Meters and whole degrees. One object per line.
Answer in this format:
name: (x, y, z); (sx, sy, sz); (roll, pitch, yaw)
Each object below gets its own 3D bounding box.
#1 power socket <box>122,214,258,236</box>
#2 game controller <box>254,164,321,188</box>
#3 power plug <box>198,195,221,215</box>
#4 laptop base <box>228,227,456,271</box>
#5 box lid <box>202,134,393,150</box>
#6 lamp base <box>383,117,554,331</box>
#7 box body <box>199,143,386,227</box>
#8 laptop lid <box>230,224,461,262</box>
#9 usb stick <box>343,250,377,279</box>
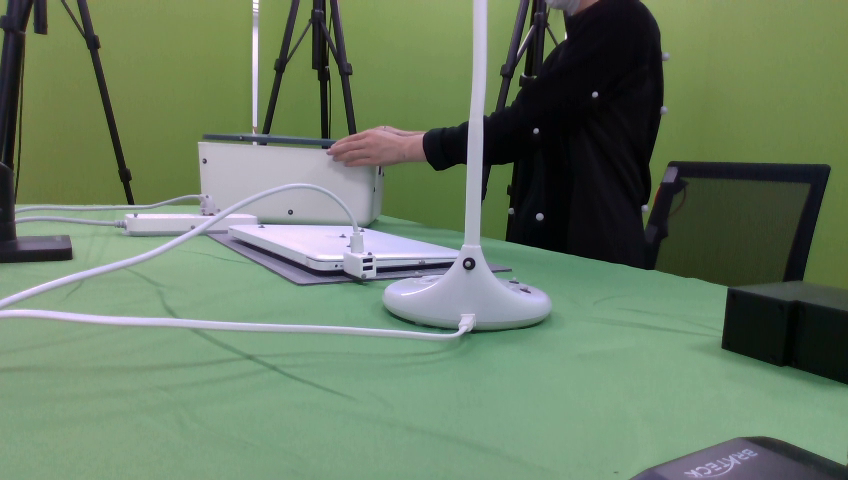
power socket: (-0.398, -0.028, 1.049); (0.228, 0.032, 0.072); (-3, 8, -34)
game controller: (-0.299, -0.139, 1.319); (0.097, 0.051, 0.155); (-1, 6, 17)
power plug: (-0.387, -0.055, 1.089); (0.035, 0.052, 0.072); (-1, 6, -22)
laptop base: (-0.122, 0.011, 0.889); (0.237, 0.023, 0.352); (2, 6, -35)
box lid: (-0.262, -0.213, 1.321); (0.372, 0.015, 0.263); (3, 9, 2)
lamp base: (0.045, -0.019, 0.547); (0.161, 0.180, 0.179); (2, 10, -4)
box body: (-0.277, -0.124, 1.335); (0.364, 0.160, 0.254); (3, 7, 1)
laptop lid: (-0.120, 0.000, 0.888); (0.243, 0.013, 0.355); (1, 7, -33)
usb stick: (-0.076, 0.026, 0.687); (0.021, 0.027, 0.059); (-8, 8, -31)
